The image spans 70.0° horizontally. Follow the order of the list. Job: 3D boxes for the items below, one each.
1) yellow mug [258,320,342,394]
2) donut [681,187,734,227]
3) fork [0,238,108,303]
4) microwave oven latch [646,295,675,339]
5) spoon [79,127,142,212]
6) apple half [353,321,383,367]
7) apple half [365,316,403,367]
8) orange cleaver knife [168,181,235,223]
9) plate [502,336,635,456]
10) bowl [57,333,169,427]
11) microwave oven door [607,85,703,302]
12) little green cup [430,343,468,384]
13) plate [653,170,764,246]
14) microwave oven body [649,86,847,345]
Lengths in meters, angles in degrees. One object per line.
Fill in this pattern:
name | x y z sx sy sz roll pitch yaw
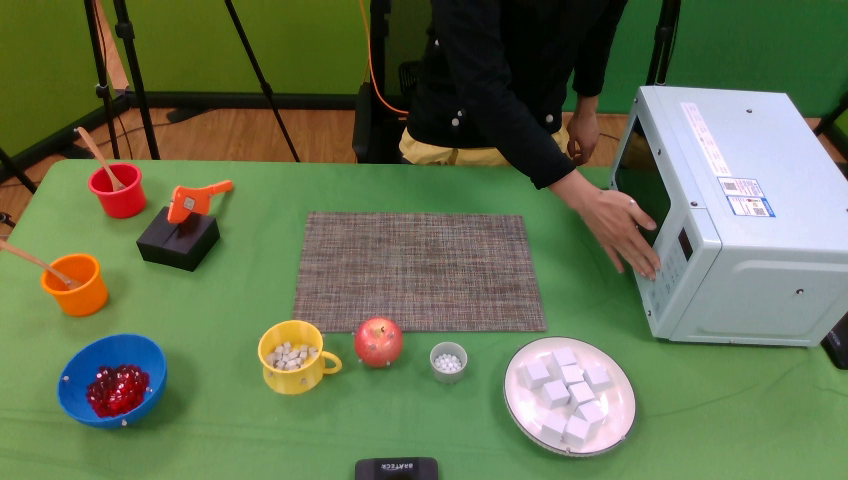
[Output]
yellow mug | -0.195 0.189 0.971 0.131 0.064 0.099 9 46 4
donut | 0.553 -0.066 1.183 0.099 0.048 0.098 3 43 -2
fork | -0.632 0.048 1.017 0.208 0.018 0.028 40 43 -27
microwave oven latch | 0.412 0.134 1.061 0.030 0.029 0.078 3 45 0
spoon | -0.624 -0.140 1.203 0.041 0.021 0.194 -33 101 -26
apple half | -0.097 0.177 0.984 0.033 0.081 0.081 -17 49 -25
apple half | -0.063 0.165 1.000 0.053 0.075 0.080 -16 45 -25
orange cleaver knife | -0.435 -0.077 1.196 0.012 0.077 0.211 16 15 10
plate | 0.226 0.248 0.963 0.208 0.039 0.206 2 46 -2
bowl | -0.455 0.223 0.911 0.151 0.077 0.150 3 45 -2
microwave oven door | 0.424 -0.094 1.140 0.039 0.245 0.353 2 46 -1
little green cup | 0.039 0.203 0.993 0.061 0.039 0.061 2 46 -2
plate | 0.555 -0.059 1.197 0.209 0.038 0.208 2 46 -2
microwave oven body | 0.568 -0.053 1.118 0.326 0.261 0.439 2 45 -1
